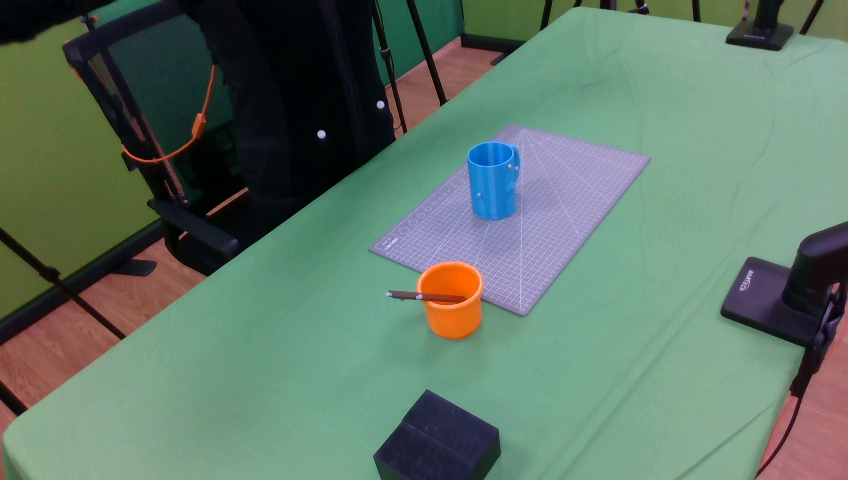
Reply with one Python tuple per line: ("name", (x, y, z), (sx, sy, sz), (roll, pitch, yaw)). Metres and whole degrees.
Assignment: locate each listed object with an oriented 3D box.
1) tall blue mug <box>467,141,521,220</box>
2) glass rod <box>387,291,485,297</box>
("tall blue mug", (0.119, -0.109, 1.020), (0.077, 0.108, 0.107), (2, 42, 15))
("glass rod", (0.022, 0.073, 0.808), (0.008, 0.008, 0.201), (31, 16, 38))
